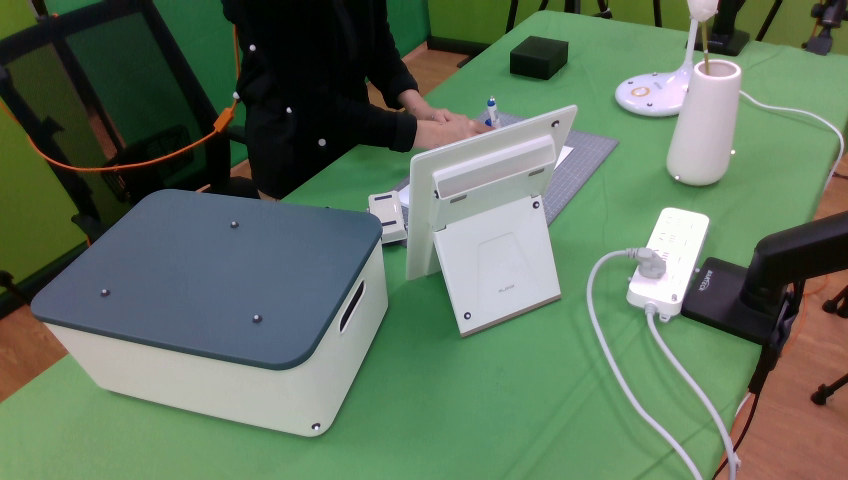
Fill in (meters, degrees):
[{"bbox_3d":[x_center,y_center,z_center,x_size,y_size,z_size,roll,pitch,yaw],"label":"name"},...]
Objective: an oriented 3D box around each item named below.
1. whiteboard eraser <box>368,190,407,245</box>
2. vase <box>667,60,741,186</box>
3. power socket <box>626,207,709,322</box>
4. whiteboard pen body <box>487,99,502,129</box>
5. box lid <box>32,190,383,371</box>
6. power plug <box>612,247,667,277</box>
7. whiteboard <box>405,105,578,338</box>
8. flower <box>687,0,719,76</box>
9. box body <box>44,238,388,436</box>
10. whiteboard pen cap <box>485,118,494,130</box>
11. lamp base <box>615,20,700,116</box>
[{"bbox_3d":[-0.061,-0.035,1.006,0.056,0.042,0.112,-9,40,-3],"label":"whiteboard eraser"},{"bbox_3d":[0.463,-0.189,0.994,0.098,0.201,0.097,-4,40,4],"label":"vase"},{"bbox_3d":[0.360,0.026,0.886,0.072,0.033,0.227,17,46,27],"label":"power socket"},{"bbox_3d":[0.135,-0.200,1.098,0.017,0.142,0.017,-9,52,13],"label":"whiteboard pen body"},{"bbox_3d":[-0.257,0.032,0.750,0.370,0.015,0.263,7,42,16],"label":"box lid"},{"bbox_3d":[0.306,0.031,0.852,0.072,0.053,0.035,21,48,37],"label":"power plug"},{"bbox_3d":[0.102,0.003,0.787,0.218,0.306,0.143,-19,62,-14],"label":"whiteboard"},{"bbox_3d":[0.436,-0.242,0.934,0.038,0.364,0.043,-24,49,8],"label":"flower"},{"bbox_3d":[-0.251,0.088,0.799,0.362,0.161,0.254,7,42,16],"label":"box body"},{"bbox_3d":[0.138,-0.232,1.229,0.018,0.018,0.033,-16,43,-10],"label":"whiteboard pen cap"},{"bbox_3d":[0.484,-0.364,1.211,0.180,0.181,0.159,-15,41,-14],"label":"lamp base"}]
